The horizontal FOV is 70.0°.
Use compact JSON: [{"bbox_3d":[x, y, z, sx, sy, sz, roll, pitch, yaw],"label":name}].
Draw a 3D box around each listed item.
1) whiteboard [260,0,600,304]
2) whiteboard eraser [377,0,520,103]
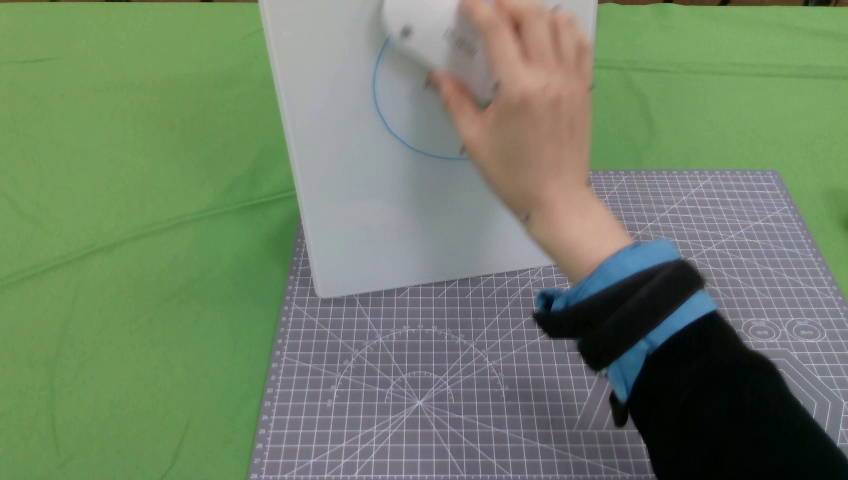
[{"bbox_3d":[0.002,-0.129,0.469,0.217,0.308,0.142,-8,31,-6],"label":"whiteboard"},{"bbox_3d":[0.018,-0.124,0.386,0.102,0.041,0.018,27,17,-23],"label":"whiteboard eraser"}]
